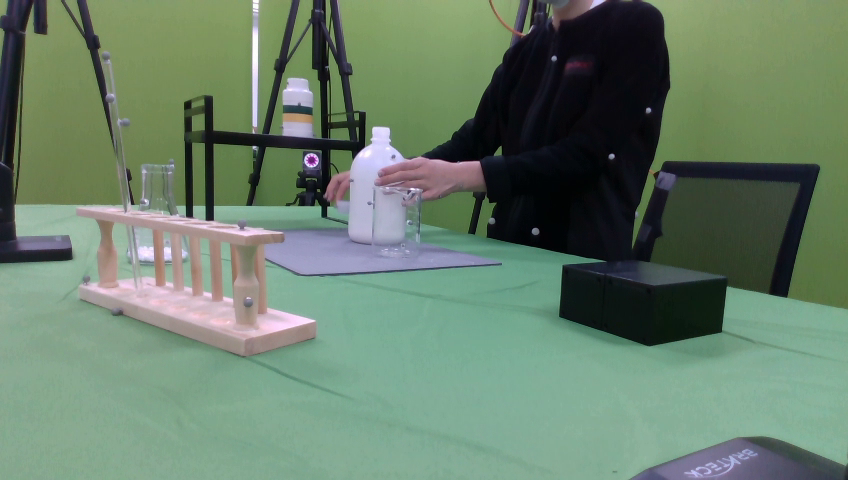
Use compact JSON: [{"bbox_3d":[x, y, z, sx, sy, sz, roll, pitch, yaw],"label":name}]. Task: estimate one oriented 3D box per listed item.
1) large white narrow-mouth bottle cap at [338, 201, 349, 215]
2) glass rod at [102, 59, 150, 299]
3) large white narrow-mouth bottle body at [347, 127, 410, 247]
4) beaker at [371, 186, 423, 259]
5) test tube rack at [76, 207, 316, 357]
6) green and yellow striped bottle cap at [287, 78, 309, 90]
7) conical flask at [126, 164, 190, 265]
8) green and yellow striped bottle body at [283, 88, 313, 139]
[{"bbox_3d":[-0.139,-0.059,1.114,0.038,0.024,0.037,4,8,0],"label":"large white narrow-mouth bottle cap"},{"bbox_3d":[-0.243,-0.045,0.496,0.008,0.199,0.008,-4,13,1],"label":"glass rod"},{"bbox_3d":[-0.075,-0.091,1.011,0.102,0.194,0.102,4,8,0],"label":"large white narrow-mouth bottle body"},{"bbox_3d":[-0.038,-0.025,0.869,0.074,0.100,0.083,-1,8,-22],"label":"beaker"},{"bbox_3d":[-0.196,0.023,0.500,0.241,0.085,0.067,8,9,36],"label":"test tube rack"},{"bbox_3d":[-0.265,-0.326,1.268,0.045,0.020,0.045,4,6,0],"label":"green and yellow striped bottle cap"},{"bbox_3d":[-0.332,-0.033,0.756,0.075,0.122,0.075,2,7,0],"label":"conical flask"},{"bbox_3d":[-0.266,-0.275,1.275,0.063,0.119,0.063,3,7,0],"label":"green and yellow striped bottle body"}]
